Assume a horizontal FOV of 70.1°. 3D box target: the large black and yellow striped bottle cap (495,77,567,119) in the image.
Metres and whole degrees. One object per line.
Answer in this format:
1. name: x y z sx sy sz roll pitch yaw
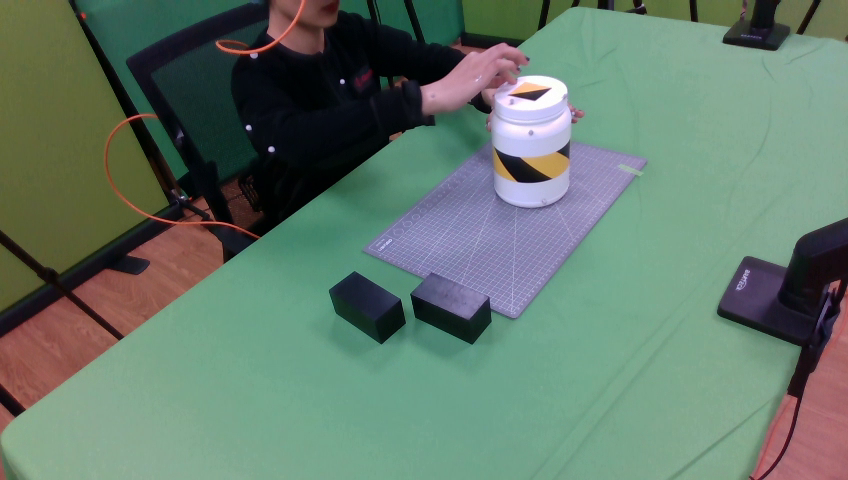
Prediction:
1. large black and yellow striped bottle cap: 0.168 -0.225 0.955 0.115 0.019 0.114 -4 38 4

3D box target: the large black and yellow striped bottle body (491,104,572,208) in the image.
1. large black and yellow striped bottle body: 0.179 -0.161 1.009 0.131 0.185 0.130 -5 40 5
